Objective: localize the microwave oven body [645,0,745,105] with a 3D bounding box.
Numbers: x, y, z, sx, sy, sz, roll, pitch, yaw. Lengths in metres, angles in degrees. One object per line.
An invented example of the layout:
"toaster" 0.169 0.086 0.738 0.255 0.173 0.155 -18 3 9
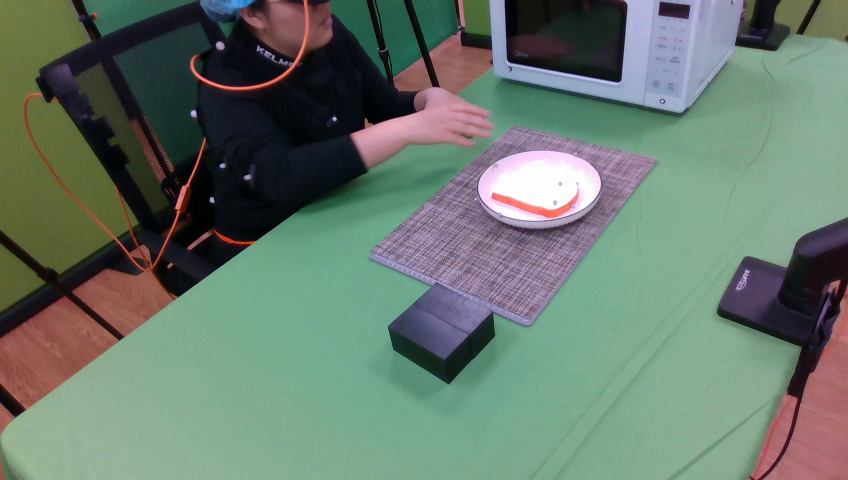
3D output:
"microwave oven body" 0.416 -0.486 1.290 0.438 0.261 0.327 21 50 33

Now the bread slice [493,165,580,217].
"bread slice" 0.200 -0.084 1.034 0.130 0.019 0.105 23 50 34

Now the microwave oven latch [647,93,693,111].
"microwave oven latch" 0.477 -0.273 1.177 0.078 0.029 0.030 22 50 33

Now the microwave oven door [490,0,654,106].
"microwave oven door" 0.292 -0.420 1.228 0.353 0.245 0.039 22 49 32

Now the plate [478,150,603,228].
"plate" 0.198 -0.084 1.030 0.209 0.038 0.208 -5 40 5
